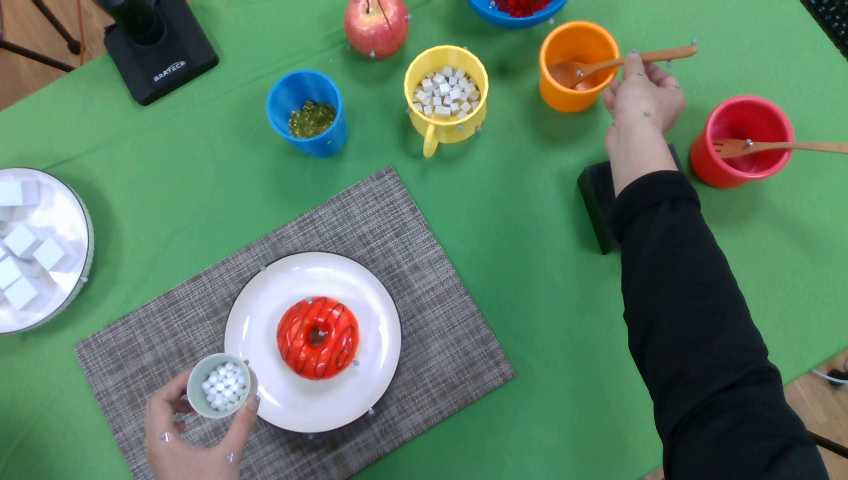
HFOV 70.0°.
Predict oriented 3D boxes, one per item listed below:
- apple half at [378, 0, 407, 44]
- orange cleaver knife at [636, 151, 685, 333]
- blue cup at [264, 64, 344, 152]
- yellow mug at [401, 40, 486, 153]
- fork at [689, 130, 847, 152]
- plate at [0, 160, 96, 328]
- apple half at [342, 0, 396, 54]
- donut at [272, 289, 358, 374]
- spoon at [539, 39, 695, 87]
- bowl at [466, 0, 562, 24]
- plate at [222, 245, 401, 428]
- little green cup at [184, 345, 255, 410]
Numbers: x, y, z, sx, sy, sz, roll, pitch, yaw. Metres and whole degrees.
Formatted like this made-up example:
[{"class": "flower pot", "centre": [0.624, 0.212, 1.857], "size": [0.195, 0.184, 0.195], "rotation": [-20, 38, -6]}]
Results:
[{"class": "apple half", "centre": [-0.038, -0.285, 0.753], "size": [0.033, 0.081, 0.081], "rotation": [-25, 80, 1]}, {"class": "orange cleaver knife", "centre": [0.267, 0.004, 0.688], "size": [0.012, 0.076, 0.212], "rotation": [-15, 109, 3]}, {"class": "blue cup", "centre": [-0.134, -0.148, 0.723], "size": [0.092, 0.100, 0.092], "rotation": [0, 82, 2]}, {"class": "yellow mug", "centre": [0.019, -0.168, 0.736], "size": [0.100, 0.064, 0.130], "rotation": [17, 83, 5]}, {"class": "fork", "centre": [0.398, -0.108, 0.668], "size": [0.205, 0.019, 0.028], "rotation": [11, 65, 47]}, {"class": "plate", "centre": [-0.503, 0.006, 0.748], "size": [0.207, 0.039, 0.207], "rotation": [0, 81, 3]}, {"class": "apple half", "centre": [-0.073, -0.268, 0.754], "size": [0.053, 0.075, 0.080], "rotation": [-25, 83, 2]}, {"class": "donut", "centre": [-0.125, 0.106, 0.699], "size": [0.099, 0.048, 0.098], "rotation": [0, 82, 3]}, {"class": "spoon", "centre": [0.212, -0.205, 0.691], "size": [0.022, 0.192, 0.041], "rotation": [25, 77, -36]}, {"class": "bowl", "centre": [0.111, -0.328, 0.751], "size": [0.151, 0.077, 0.151], "rotation": [0, 82, 3]}, {"class": "plate", "centre": [-0.129, 0.110, 0.709], "size": [0.209, 0.038, 0.208], "rotation": [0, 81, 3]}, {"class": "little green cup", "centre": [-0.197, 0.137, 0.594], "size": [0.061, 0.039, 0.061], "rotation": [-2, 65, 4]}]
